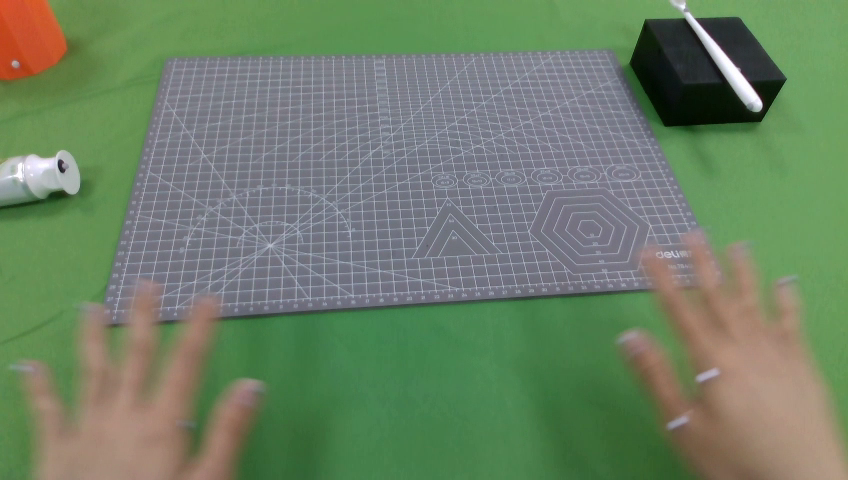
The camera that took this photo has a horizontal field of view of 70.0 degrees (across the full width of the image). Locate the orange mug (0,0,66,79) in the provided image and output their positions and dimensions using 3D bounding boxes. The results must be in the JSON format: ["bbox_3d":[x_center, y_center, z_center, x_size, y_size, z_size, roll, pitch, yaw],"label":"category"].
[{"bbox_3d":[-0.400,-0.201,0.537,0.083,0.101,0.126,30,52,19],"label":"orange mug"}]

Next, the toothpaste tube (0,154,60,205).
[{"bbox_3d":[-0.357,-0.042,0.462,0.165,0.035,0.054,-10,49,-6],"label":"toothpaste tube"}]

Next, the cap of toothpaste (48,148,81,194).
[{"bbox_3d":[-0.279,-0.053,0.468,0.011,0.037,0.037,-10,53,-7],"label":"cap of toothpaste"}]

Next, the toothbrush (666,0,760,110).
[{"bbox_3d":[0.264,-0.183,0.558,0.014,0.017,0.180,-3,53,-12],"label":"toothbrush"}]
